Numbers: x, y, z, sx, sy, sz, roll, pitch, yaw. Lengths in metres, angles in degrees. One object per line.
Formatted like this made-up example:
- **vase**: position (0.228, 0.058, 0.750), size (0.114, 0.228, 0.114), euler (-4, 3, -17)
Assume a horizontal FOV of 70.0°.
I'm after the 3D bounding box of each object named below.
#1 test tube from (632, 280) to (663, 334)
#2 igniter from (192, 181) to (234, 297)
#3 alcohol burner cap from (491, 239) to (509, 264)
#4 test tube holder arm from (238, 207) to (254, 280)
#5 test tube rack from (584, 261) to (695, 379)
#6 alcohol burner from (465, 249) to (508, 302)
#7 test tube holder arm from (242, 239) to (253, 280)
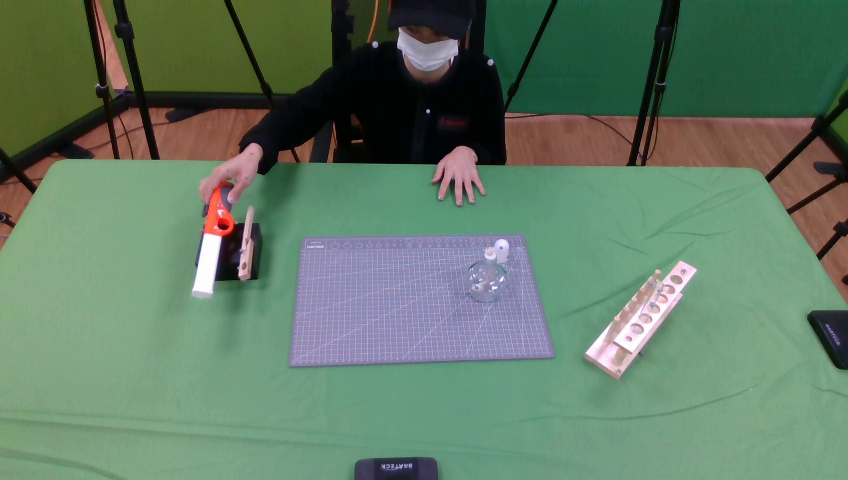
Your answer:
- **test tube**: position (0.363, 0.121, 0.997), size (0.017, 0.151, 0.017), euler (2, 44, -1)
- **igniter**: position (-0.372, -0.011, 1.075), size (0.057, 0.025, 0.274), euler (14, 43, -21)
- **alcohol burner cap**: position (0.150, 0.020, 1.174), size (0.034, 0.048, 0.033), euler (2, 46, -2)
- **test tube holder arm**: position (-0.324, 0.002, 1.106), size (0.013, 0.015, 0.177), euler (-10, 46, 0)
- **test tube rack**: position (0.380, 0.127, 1.062), size (0.066, 0.085, 0.242), euler (34, 53, 26)
- **alcohol burner**: position (0.114, 0.057, 1.085), size (0.078, 0.120, 0.077), euler (2, 48, -2)
- **test tube holder arm**: position (-0.313, 0.033, 1.075), size (0.010, 0.015, 0.087), euler (-10, 46, -1)
